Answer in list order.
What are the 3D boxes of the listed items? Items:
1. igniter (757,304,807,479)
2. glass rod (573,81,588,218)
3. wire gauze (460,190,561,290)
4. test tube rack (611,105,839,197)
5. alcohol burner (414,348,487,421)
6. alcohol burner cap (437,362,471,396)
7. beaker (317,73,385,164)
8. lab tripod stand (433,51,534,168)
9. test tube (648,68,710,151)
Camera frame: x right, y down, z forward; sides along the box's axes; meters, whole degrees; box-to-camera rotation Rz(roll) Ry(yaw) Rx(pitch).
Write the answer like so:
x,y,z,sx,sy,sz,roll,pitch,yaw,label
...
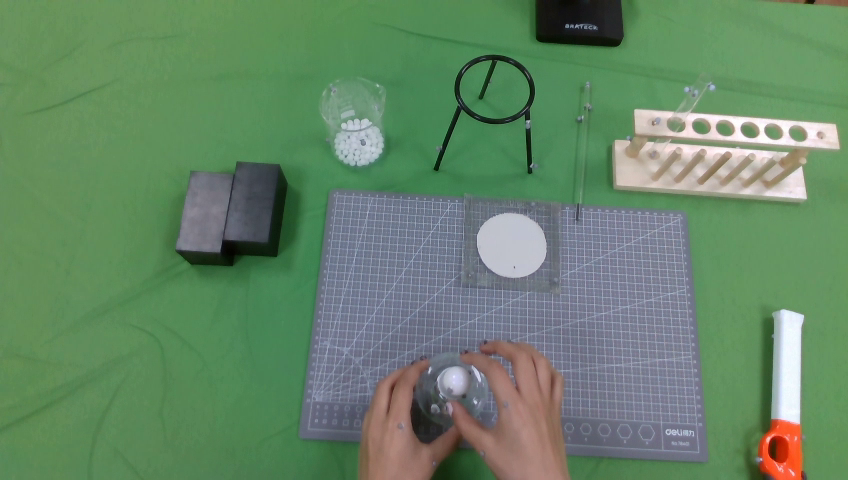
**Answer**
x,y,z,sx,sy,sz,roll,pitch,yaw,label
0.397,0.206,0.671,0.057,0.025,0.275,16,71,-7,igniter
0.204,-0.121,0.787,0.008,0.008,0.198,9,72,1,glass rod
0.106,-0.003,0.742,0.125,0.011,0.120,5,70,1,wire gauze
0.365,-0.107,0.748,0.242,0.085,0.066,4,70,0,test tube rack
0.030,0.147,0.631,0.078,0.120,0.077,1,69,-3,alcohol burner
0.032,0.136,0.596,0.034,0.048,0.033,1,74,-3,alcohol burner cap
-0.083,-0.145,0.738,0.084,0.101,0.073,-34,75,-13,beaker
0.074,-0.154,0.729,0.148,0.132,0.147,0,69,0,lab tripod stand
0.294,-0.147,0.707,0.017,0.151,0.017,0,67,0,test tube
